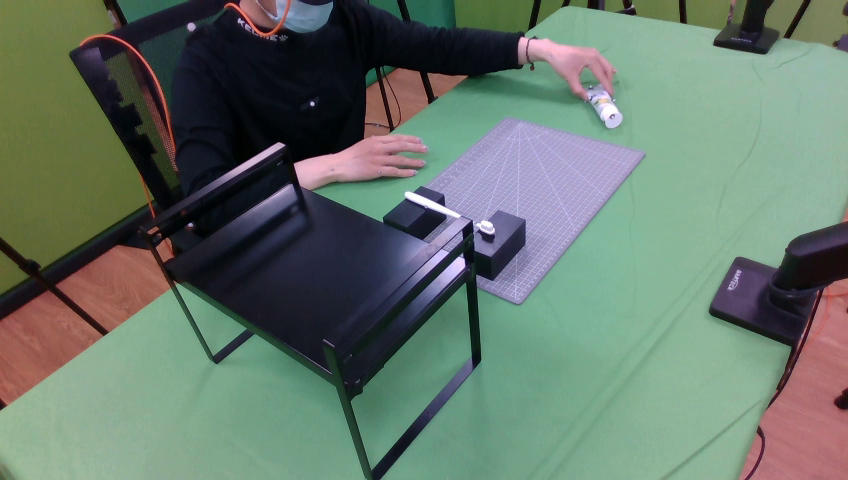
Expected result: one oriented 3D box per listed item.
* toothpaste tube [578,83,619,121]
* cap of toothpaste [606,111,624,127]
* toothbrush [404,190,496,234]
[{"bbox_3d":[0.367,-0.286,1.243,0.055,0.034,0.164,-7,37,0],"label":"toothpaste tube"},{"bbox_3d":[0.371,-0.237,1.178,0.037,0.037,0.011,-14,42,-8],"label":"cap of toothpaste"},{"bbox_3d":[0.036,-0.047,0.942,0.180,0.017,0.014,25,62,34],"label":"toothbrush"}]
